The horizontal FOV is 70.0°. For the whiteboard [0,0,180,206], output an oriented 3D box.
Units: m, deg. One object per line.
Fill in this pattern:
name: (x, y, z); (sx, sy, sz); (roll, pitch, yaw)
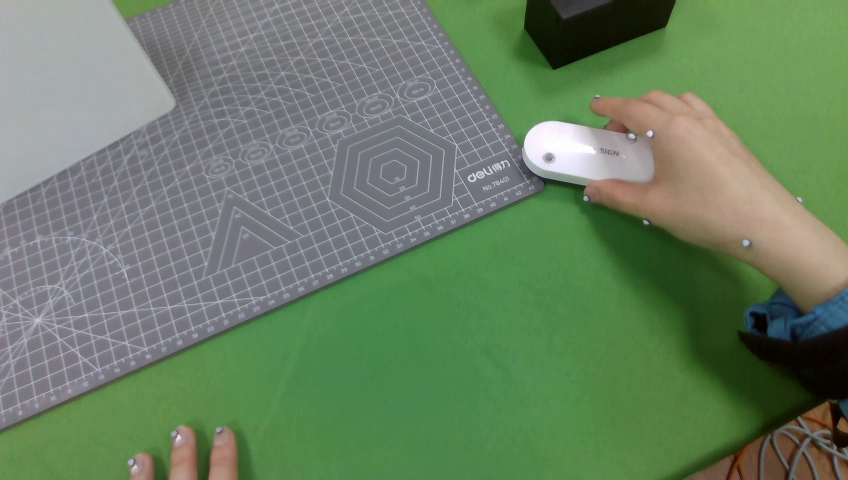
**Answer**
whiteboard: (-0.341, -0.180, 0.368); (0.217, 0.309, 0.142); (-33, 47, -12)

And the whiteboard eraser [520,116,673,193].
whiteboard eraser: (0.117, -0.058, 0.414); (0.101, 0.019, 0.041); (12, 69, 7)
